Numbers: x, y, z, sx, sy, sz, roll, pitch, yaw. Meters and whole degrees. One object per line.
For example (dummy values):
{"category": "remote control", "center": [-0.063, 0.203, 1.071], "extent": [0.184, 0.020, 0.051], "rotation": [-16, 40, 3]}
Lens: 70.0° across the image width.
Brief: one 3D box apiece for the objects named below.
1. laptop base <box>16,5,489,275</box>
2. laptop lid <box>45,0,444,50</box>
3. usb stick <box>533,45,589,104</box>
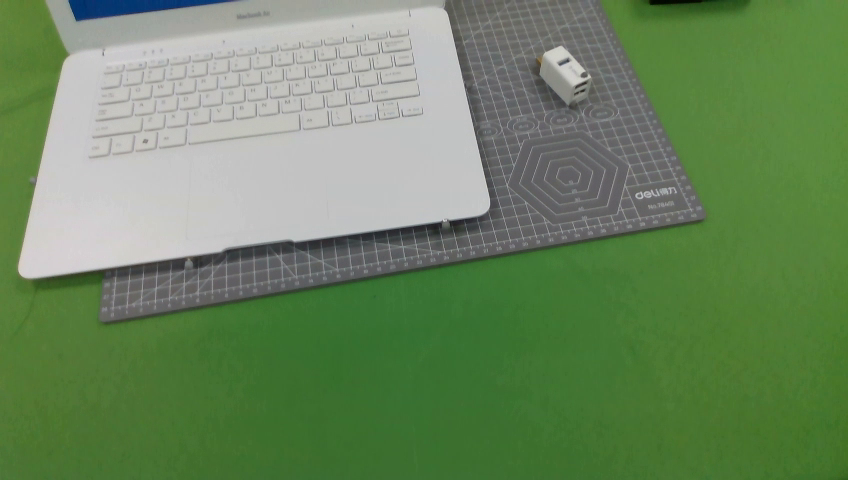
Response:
{"category": "laptop base", "center": [-0.139, -0.094, 0.508], "extent": [0.354, 0.023, 0.233], "rotation": [-8, 62, -2]}
{"category": "laptop lid", "center": [-0.165, -0.290, 0.502], "extent": [0.357, 0.244, 0.013], "rotation": [-9, 34, -2]}
{"category": "usb stick", "center": [0.116, -0.147, 0.524], "extent": [0.021, 0.027, 0.058], "rotation": [-27, 59, -12]}
